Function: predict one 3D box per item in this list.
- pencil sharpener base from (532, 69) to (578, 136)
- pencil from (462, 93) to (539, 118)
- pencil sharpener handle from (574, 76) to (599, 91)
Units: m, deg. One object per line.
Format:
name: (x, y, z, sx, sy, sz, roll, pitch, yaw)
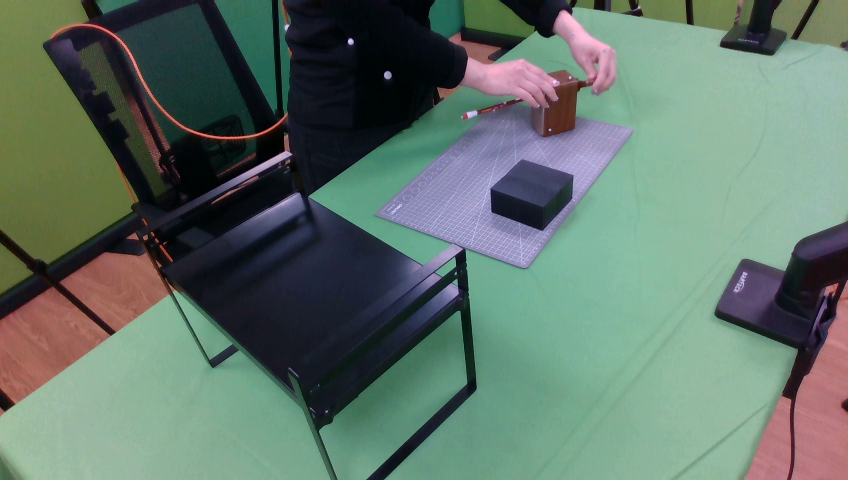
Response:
pencil sharpener base: (0.256, -0.268, 1.179, 0.077, 0.107, 0.061, -15, 41, -8)
pencil: (0.164, -0.261, 1.151, 0.194, 0.012, 0.012, -16, 41, -7)
pencil sharpener handle: (0.306, -0.298, 1.154, 0.031, 0.036, 0.067, -15, 17, -8)
